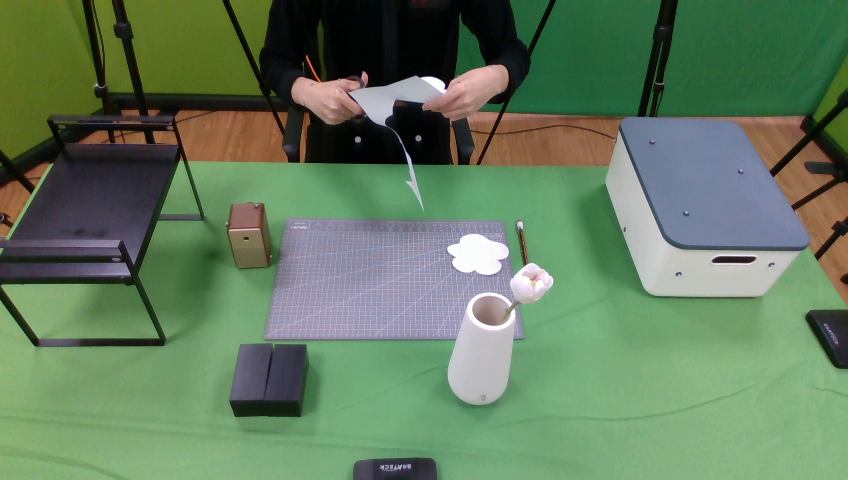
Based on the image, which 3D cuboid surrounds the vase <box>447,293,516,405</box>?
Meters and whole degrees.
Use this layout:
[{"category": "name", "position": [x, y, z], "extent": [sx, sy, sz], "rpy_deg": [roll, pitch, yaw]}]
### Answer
[{"category": "vase", "position": [0.091, 0.169, 0.921], "extent": [0.098, 0.201, 0.097], "rpy_deg": [3, 47, -3]}]

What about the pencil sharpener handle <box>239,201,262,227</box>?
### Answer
[{"category": "pencil sharpener handle", "position": [-0.325, -0.056, 1.150], "extent": [0.036, 0.068, 0.030], "rpy_deg": [-13, 46, 4]}]

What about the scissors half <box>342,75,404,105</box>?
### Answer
[{"category": "scissors half", "position": [-0.093, -0.265, 1.087], "extent": [0.013, 0.040, 0.174], "rpy_deg": [-25, 40, -36]}]

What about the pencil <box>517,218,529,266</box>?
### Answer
[{"category": "pencil", "position": [0.200, 0.027, 1.196], "extent": [0.012, 0.012, 0.193], "rpy_deg": [1, 48, -3]}]

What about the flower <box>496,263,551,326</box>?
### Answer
[{"category": "flower", "position": [0.102, 0.120, 0.853], "extent": [0.044, 0.363, 0.038], "rpy_deg": [-2, 64, -10]}]

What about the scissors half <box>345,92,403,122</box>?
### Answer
[{"category": "scissors half", "position": [-0.091, -0.244, 1.094], "extent": [0.013, 0.040, 0.175], "rpy_deg": [-19, 9, -38]}]

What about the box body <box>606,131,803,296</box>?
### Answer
[{"category": "box body", "position": [0.530, -0.067, 1.204], "extent": [0.254, 0.161, 0.361], "rpy_deg": [1, 46, -4]}]

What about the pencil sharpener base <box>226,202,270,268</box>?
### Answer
[{"category": "pencil sharpener base", "position": [-0.323, -0.010, 1.123], "extent": [0.061, 0.107, 0.076], "rpy_deg": [-3, 46, -7]}]

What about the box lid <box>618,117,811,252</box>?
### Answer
[{"category": "box lid", "position": [0.534, -0.117, 1.149], "extent": [0.263, 0.015, 0.369], "rpy_deg": [0, 47, -3]}]
